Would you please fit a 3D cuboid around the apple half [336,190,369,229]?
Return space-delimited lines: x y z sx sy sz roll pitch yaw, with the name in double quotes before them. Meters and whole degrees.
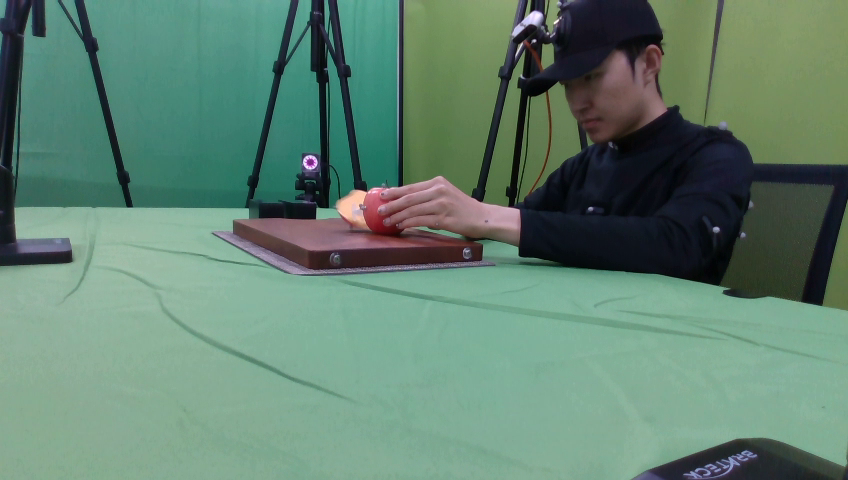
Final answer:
"apple half" -0.104 -0.041 0.976 0.081 0.033 0.081 14 46 -15

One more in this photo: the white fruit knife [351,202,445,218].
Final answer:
"white fruit knife" -0.037 -0.049 0.991 0.016 0.027 0.208 10 9 44

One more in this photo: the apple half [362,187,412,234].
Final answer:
"apple half" -0.050 -0.045 0.938 0.081 0.074 0.053 1 10 -46
